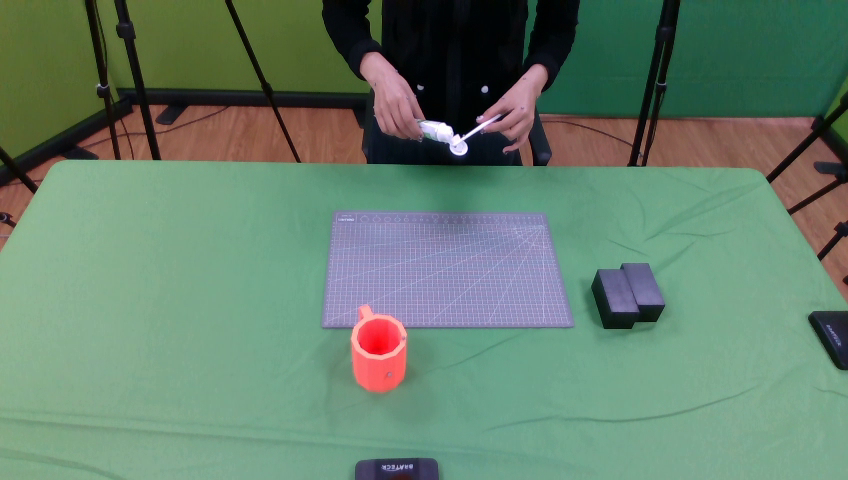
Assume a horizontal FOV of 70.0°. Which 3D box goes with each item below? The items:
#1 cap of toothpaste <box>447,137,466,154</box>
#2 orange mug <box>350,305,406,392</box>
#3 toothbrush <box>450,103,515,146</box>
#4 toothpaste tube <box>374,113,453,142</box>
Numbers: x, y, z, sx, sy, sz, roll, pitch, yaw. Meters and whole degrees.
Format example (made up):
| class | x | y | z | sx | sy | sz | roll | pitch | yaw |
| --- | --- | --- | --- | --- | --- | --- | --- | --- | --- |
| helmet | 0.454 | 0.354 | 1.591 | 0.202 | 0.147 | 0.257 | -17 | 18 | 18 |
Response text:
| class | x | y | z | sx | sy | sz | roll | pitch | yaw |
| --- | --- | --- | --- | --- | --- | --- | --- | --- | --- |
| cap of toothpaste | 0.061 | -0.177 | 1.127 | 0.037 | 0.011 | 0.037 | 5 | 63 | -10 |
| orange mug | -0.080 | 0.168 | 0.978 | 0.083 | 0.101 | 0.125 | -16 | 54 | -18 |
| toothbrush | 0.113 | -0.223 | 1.151 | 0.182 | 0.017 | 0.014 | -36 | 15 | -31 |
| toothpaste tube | -0.016 | -0.215 | 1.151 | 0.164 | 0.055 | 0.034 | 18 | 80 | 28 |
